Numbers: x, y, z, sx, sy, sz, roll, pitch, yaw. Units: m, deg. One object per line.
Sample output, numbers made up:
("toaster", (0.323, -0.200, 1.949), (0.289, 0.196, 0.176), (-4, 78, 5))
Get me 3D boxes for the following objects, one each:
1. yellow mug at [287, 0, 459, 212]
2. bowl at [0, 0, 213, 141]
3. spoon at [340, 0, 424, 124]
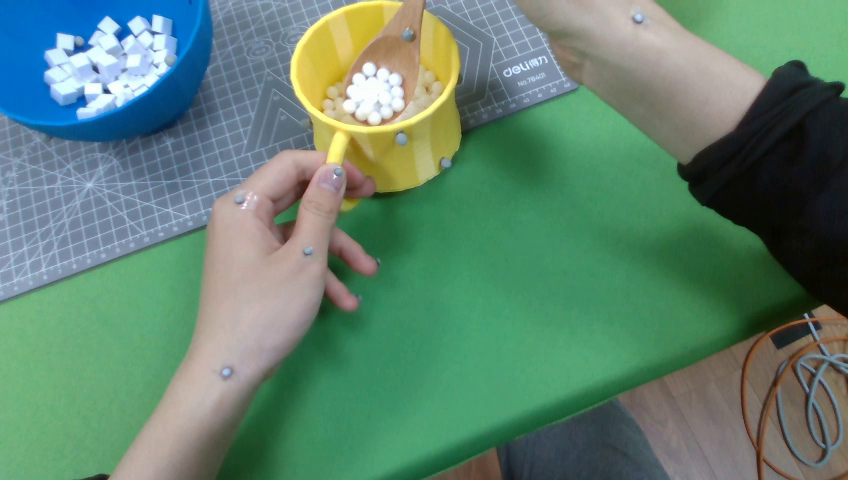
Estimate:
("yellow mug", (-0.033, -0.077, 0.373), (0.099, 0.064, 0.130), (16, 66, 11))
("bowl", (-0.204, -0.122, 0.403), (0.151, 0.077, 0.150), (-1, 70, 4))
("spoon", (0.006, -0.153, 0.330), (0.041, 0.021, 0.194), (30, 109, 6))
